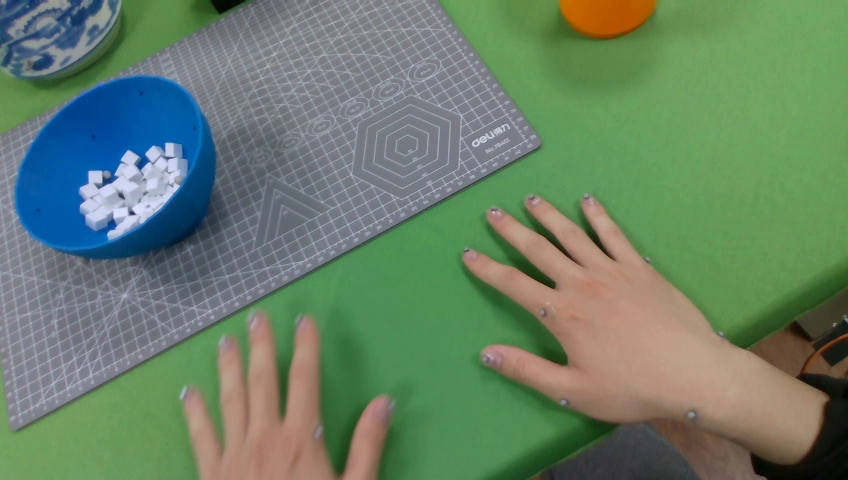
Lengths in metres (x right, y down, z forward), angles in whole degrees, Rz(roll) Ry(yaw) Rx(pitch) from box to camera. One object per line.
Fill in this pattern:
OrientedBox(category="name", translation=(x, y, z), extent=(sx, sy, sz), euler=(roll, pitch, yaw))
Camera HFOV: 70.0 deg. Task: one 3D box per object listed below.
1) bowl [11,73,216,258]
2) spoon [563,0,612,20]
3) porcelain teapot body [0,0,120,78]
OrientedBox(category="bowl", translation=(-0.221, -0.045, 0.469), extent=(0.151, 0.077, 0.150), euler=(-5, 64, 10))
OrientedBox(category="spoon", translation=(0.168, -0.248, 0.440), extent=(0.022, 0.194, 0.041), euler=(-9, 55, -43))
OrientedBox(category="porcelain teapot body", translation=(-0.416, -0.247, 0.528), extent=(0.205, 0.227, 0.144), euler=(-24, 63, 2))
